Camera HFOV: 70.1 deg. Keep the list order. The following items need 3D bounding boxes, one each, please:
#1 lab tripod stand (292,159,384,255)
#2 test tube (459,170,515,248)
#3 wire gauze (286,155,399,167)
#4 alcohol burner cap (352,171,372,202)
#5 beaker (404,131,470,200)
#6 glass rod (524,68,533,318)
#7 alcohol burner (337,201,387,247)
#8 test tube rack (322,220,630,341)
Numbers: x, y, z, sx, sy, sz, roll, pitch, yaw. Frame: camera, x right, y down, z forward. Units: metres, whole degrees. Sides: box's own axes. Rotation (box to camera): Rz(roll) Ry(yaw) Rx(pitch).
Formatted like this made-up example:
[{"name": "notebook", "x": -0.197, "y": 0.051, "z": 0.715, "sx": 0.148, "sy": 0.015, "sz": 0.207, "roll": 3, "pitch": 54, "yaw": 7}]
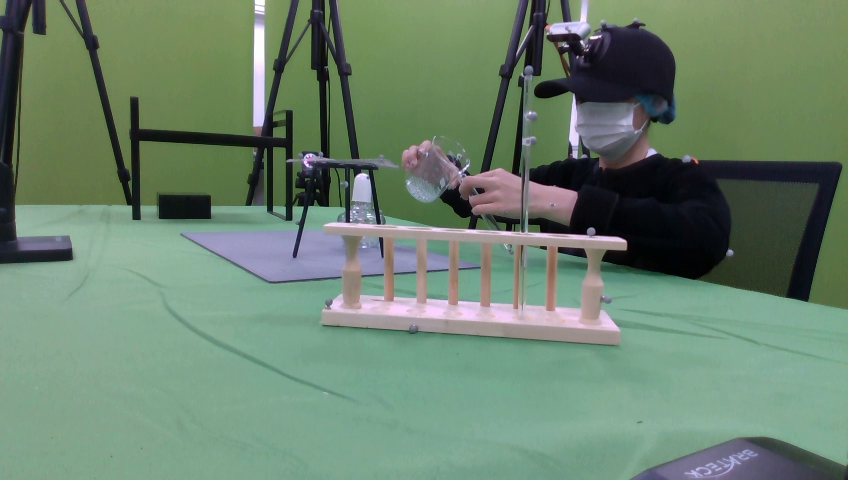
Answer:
[{"name": "lab tripod stand", "x": -0.105, "y": -0.039, "z": 0.797, "sx": 0.148, "sy": 0.131, "sz": 0.148, "roll": 2, "pitch": 5, "yaw": 0}, {"name": "test tube", "x": 0.097, "y": -0.048, "z": 0.934, "sx": 0.017, "sy": 0.149, "sz": 0.017, "roll": -26, "pitch": -23, "yaw": -12}, {"name": "wire gauze", "x": -0.101, "y": -0.105, "z": 0.788, "sx": 0.121, "sy": 0.011, "sz": 0.125, "roll": 4, "pitch": 6, "yaw": 6}, {"name": "alcohol burner cap", "x": -0.096, "y": -0.084, "z": 0.951, "sx": 0.034, "sy": 0.048, "sz": 0.034, "roll": 6, "pitch": 5, "yaw": 0}, {"name": "beaker", "x": 0.020, "y": -0.118, "z": 1.012, "sx": 0.074, "sy": 0.083, "sz": 0.100, "roll": -3, "pitch": -32, "yaw": -43}, {"name": "glass rod", "x": 0.082, "y": -0.031, "z": 0.473, "sx": 0.008, "sy": 0.199, "sz": 0.008, "roll": -2, "pitch": 14, "yaw": 1}, {"name": "alcohol burner", "x": -0.098, "y": -0.049, "z": 0.954, "sx": 0.078, "sy": 0.119, "sz": 0.078, "roll": 0, "pitch": 7, "yaw": 0}, {"name": "test tube rack", "x": 0.041, "y": 0.029, "z": 0.512, "sx": 0.242, "sy": 0.085, "sz": 0.067, "roll": 3, "pitch": 7, "yaw": 5}]
